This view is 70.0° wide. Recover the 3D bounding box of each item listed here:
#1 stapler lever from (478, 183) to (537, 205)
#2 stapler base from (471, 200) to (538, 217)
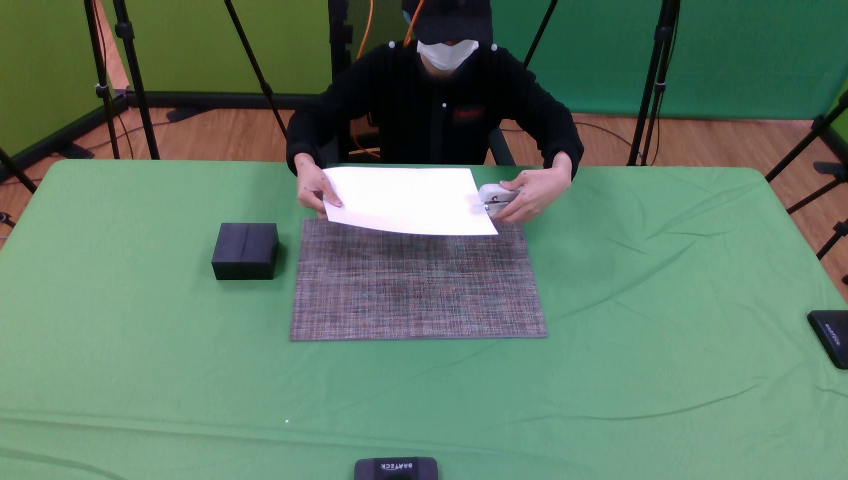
[{"bbox_3d":[0.157,-0.089,1.131,0.118,0.040,0.026,-9,45,-19],"label":"stapler lever"},{"bbox_3d":[0.153,-0.070,1.145,0.131,0.024,0.041,-8,45,-20],"label":"stapler base"}]
